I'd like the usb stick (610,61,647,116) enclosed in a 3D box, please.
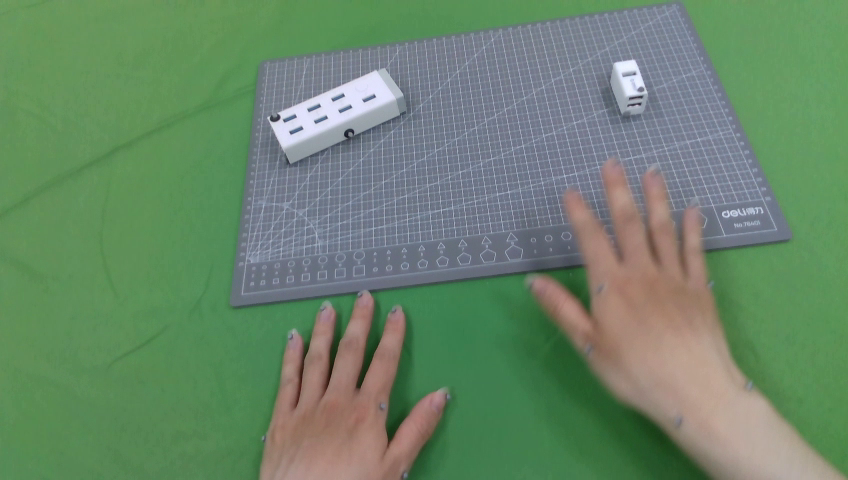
[{"bbox_3d":[0.187,-0.145,0.560,0.021,0.027,0.058,-8,54,5],"label":"usb stick"}]

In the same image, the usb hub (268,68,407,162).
[{"bbox_3d":[-0.083,-0.122,0.583,0.125,0.025,0.049,-25,57,-9],"label":"usb hub"}]
